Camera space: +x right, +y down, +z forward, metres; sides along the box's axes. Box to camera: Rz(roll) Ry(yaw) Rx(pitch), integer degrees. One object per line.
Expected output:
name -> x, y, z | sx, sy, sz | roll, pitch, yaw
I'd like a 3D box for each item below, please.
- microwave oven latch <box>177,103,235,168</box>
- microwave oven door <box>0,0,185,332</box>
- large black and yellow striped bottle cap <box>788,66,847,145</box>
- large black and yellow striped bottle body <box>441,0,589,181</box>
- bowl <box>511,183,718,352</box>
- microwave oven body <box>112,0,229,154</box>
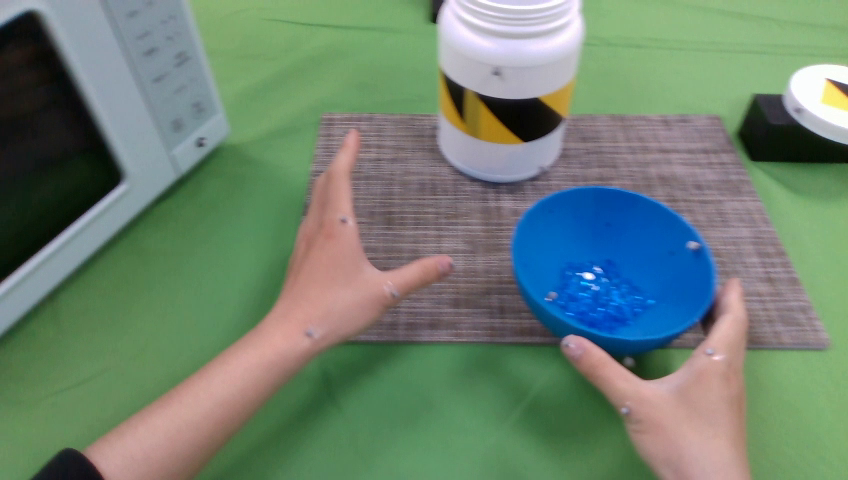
microwave oven latch -> -0.226, -0.109, 0.611 | 0.030, 0.030, 0.079 | 25, 54, 19
microwave oven door -> -0.333, -0.031, 0.409 | 0.039, 0.246, 0.354 | 22, 53, 18
large black and yellow striped bottle cap -> 0.432, -0.137, 0.611 | 0.115, 0.019, 0.114 | 0, 49, 1
large black and yellow striped bottle body -> 0.083, -0.164, 0.582 | 0.131, 0.185, 0.129 | 0, 49, 0
bowl -> 0.141, 0.034, 0.483 | 0.151, 0.077, 0.150 | 0, 49, 0
microwave oven body -> -0.441, -0.108, 0.481 | 0.324, 0.262, 0.440 | 23, 54, 17
